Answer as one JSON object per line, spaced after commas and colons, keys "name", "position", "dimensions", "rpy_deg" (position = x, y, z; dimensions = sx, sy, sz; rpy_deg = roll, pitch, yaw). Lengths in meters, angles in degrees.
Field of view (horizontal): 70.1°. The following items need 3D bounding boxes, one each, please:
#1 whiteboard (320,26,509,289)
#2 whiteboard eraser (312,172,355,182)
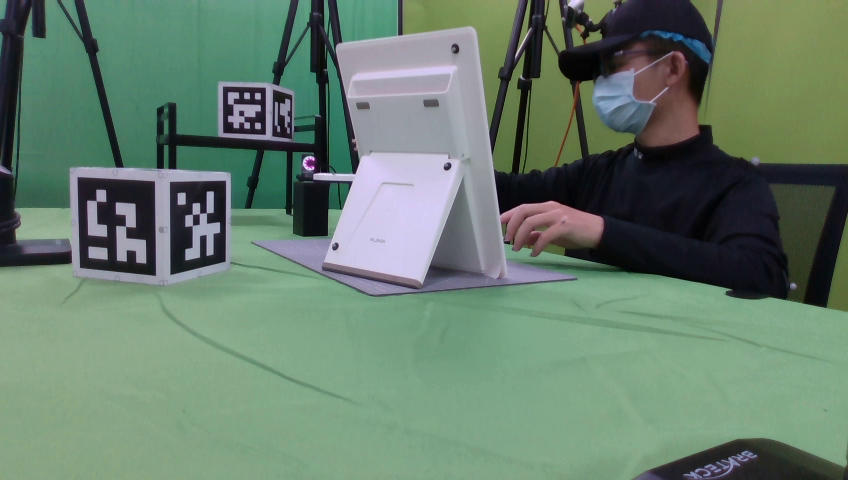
{"name": "whiteboard", "position": [-0.045, -0.076, 0.721], "dimensions": [0.216, 0.305, 0.144], "rpy_deg": [9, 29, 39]}
{"name": "whiteboard eraser", "position": [-0.164, -0.121, 1.155], "dimensions": [0.102, 0.019, 0.041], "rpy_deg": [-2, 7, -34]}
